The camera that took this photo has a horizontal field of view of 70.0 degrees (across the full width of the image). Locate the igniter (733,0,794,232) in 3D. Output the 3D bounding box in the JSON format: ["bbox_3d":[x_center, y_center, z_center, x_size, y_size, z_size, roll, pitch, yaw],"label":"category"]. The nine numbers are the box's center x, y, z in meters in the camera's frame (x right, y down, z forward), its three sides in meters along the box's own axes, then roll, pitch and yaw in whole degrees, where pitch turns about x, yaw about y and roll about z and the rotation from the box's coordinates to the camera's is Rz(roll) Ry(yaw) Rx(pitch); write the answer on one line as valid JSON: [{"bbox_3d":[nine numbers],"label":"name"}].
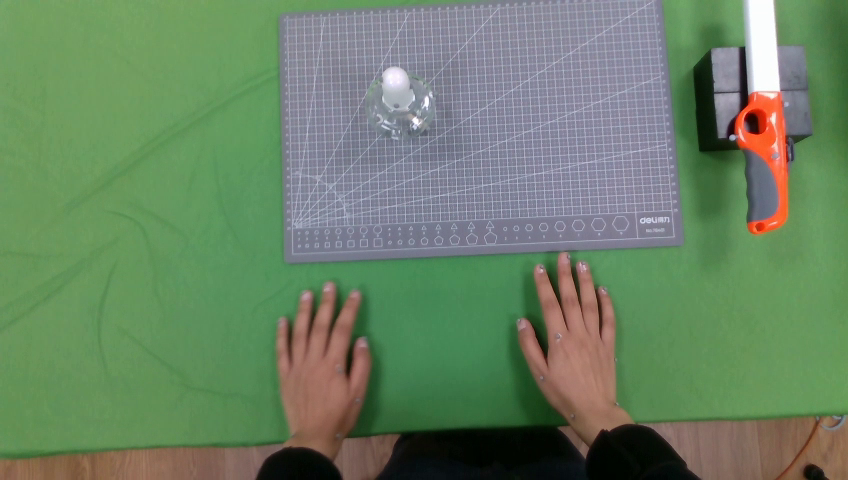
[{"bbox_3d":[0.352,-0.145,0.632,0.057,0.025,0.275,2,82,5],"label":"igniter"}]

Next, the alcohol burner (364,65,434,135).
[{"bbox_3d":[-0.028,-0.155,0.646,0.078,0.119,0.077,0,83,0],"label":"alcohol burner"}]

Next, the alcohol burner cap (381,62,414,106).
[{"bbox_3d":[-0.028,-0.160,0.611,0.034,0.048,0.033,-1,77,4],"label":"alcohol burner cap"}]
